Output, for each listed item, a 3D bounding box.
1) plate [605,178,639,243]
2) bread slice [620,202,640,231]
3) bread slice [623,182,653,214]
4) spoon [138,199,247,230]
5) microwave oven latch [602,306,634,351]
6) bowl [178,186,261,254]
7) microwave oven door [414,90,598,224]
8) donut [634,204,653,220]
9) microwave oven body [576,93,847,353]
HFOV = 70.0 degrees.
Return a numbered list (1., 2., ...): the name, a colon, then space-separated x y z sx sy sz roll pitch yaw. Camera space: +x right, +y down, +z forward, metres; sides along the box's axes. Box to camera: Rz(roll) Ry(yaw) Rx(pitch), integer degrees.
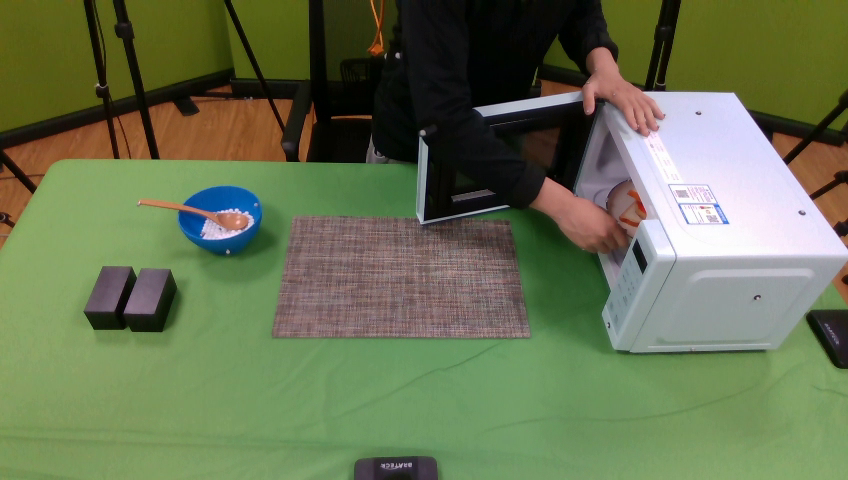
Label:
1. plate: 0.455 -0.042 1.182 0.208 0.039 0.206 2 46 -2
2. bread slice: 0.453 -0.038 1.178 0.134 0.018 0.107 19 55 30
3. bread slice: 0.457 -0.078 1.138 0.131 0.019 0.105 34 51 29
4. spoon: -0.431 -0.053 1.135 0.194 0.022 0.041 15 48 -20
5. microwave oven latch: 0.332 0.153 1.044 0.030 0.029 0.078 0 45 -4
6. bowl: -0.383 -0.026 1.158 0.151 0.077 0.150 2 46 -2
7. microwave oven door: 0.157 -0.162 1.196 0.356 0.245 0.039 -12 48 -15
8. donut: 0.452 -0.062 1.158 0.099 0.048 0.098 -2 47 3
9. microwave oven body: 0.475 -0.042 1.109 0.326 0.261 0.438 -1 45 -4
